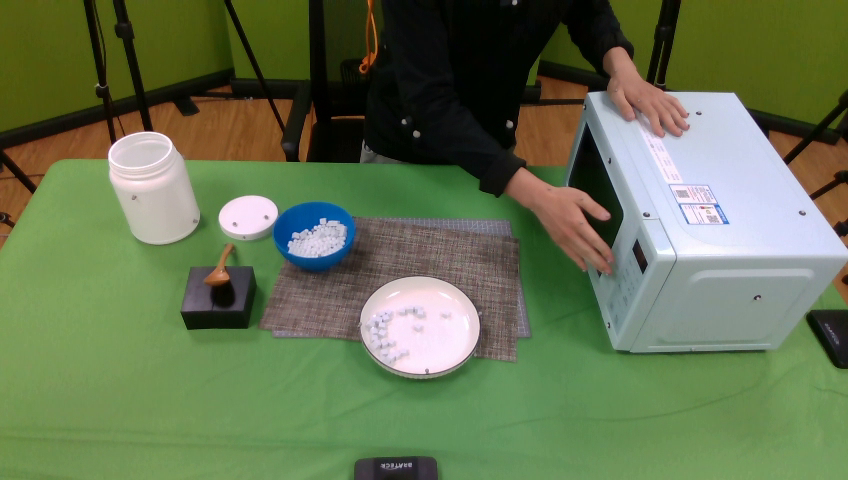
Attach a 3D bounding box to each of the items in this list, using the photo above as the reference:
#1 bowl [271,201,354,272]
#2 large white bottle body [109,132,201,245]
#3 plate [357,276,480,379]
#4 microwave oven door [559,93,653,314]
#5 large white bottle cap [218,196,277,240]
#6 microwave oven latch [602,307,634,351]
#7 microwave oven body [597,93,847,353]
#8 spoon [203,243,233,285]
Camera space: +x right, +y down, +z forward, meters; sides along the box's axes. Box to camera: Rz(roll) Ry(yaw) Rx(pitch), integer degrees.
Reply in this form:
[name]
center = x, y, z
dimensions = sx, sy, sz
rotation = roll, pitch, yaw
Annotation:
[bowl]
center = -0.205, 0.006, 1.134
dimensions = 0.151, 0.077, 0.150
rotation = 3, 46, -3
[large white bottle body]
center = -0.506, -0.097, 1.141
dimensions = 0.131, 0.185, 0.130
rotation = 2, 46, -2
[plate]
center = -0.010, 0.151, 1.038
dimensions = 0.209, 0.038, 0.208
rotation = 2, 47, -2
[microwave oven door]
center = 0.328, -0.074, 1.123
dimensions = 0.039, 0.245, 0.353
rotation = -1, 46, -5
[large white bottle cap]
center = -0.354, -0.045, 1.220
dimensions = 0.115, 0.018, 0.114
rotation = 1, 45, -1
[microwave oven latch]
center = 0.332, 0.153, 1.044
dimensions = 0.030, 0.029, 0.078
rotation = -1, 45, -4
[microwave oven body]
center = 0.476, -0.041, 1.109
dimensions = 0.326, 0.261, 0.438
rotation = -1, 45, -4
[spoon]
center = -0.360, 0.039, 1.087
dimensions = 0.041, 0.022, 0.192
rotation = -6, 24, -6
